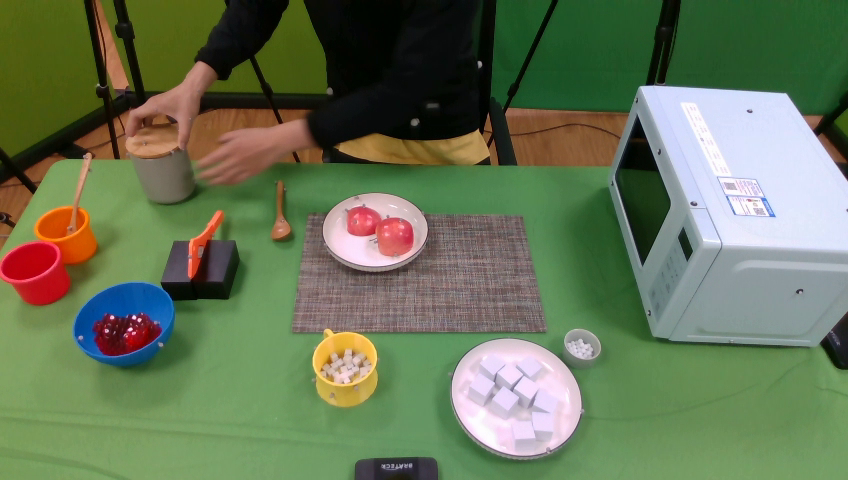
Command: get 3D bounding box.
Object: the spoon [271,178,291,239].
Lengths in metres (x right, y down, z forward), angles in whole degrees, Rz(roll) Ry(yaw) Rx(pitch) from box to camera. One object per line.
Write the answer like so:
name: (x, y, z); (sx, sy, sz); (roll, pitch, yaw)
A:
spoon: (-0.293, -0.069, 1.237); (0.041, 0.022, 0.192); (-20, 48, 7)

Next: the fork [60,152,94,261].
fork: (-0.638, -0.063, 1.119); (0.028, 0.018, 0.207); (12, 90, 8)

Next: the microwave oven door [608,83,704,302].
microwave oven door: (0.424, -0.096, 1.138); (0.039, 0.245, 0.353); (2, 47, -1)

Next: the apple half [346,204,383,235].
apple half: (-0.119, -0.049, 1.207); (0.081, 0.033, 0.081); (2, 50, -2)

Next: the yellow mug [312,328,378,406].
yellow mug: (-0.132, 0.193, 0.971); (0.100, 0.064, 0.130); (-22, 51, -23)

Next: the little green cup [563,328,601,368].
little green cup: (0.265, 0.184, 1.025); (0.061, 0.039, 0.061); (1, 46, -1)

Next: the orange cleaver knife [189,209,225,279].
orange cleaver knife: (-0.400, 0.002, 1.122); (0.012, 0.077, 0.210); (4, 23, -4)

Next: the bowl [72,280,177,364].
bowl: (-0.472, 0.147, 0.982); (0.151, 0.077, 0.150); (2, 46, -2)

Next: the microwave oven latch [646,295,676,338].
microwave oven latch: (0.413, 0.133, 1.060); (0.030, 0.029, 0.078); (4, 46, 1)

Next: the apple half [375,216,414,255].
apple half: (-0.056, -0.017, 1.169); (0.075, 0.053, 0.080); (0, 46, -7)

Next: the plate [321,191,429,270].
plate: (-0.094, -0.015, 1.185); (0.209, 0.038, 0.208); (2, 46, -2)

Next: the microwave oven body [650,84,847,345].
microwave oven body: (0.569, -0.054, 1.116); (0.326, 0.261, 0.439); (2, 46, -1)

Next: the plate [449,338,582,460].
plate: (0.141, 0.251, 0.956); (0.208, 0.039, 0.206); (2, 46, -2)

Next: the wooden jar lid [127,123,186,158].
wooden jar lid: (-0.518, -0.190, 1.179); (0.108, 0.021, 0.107); (2, 44, -1)

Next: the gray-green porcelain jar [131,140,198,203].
gray-green porcelain jar: (-0.521, -0.147, 1.224); (0.106, 0.127, 0.105); (2, 47, -2)
